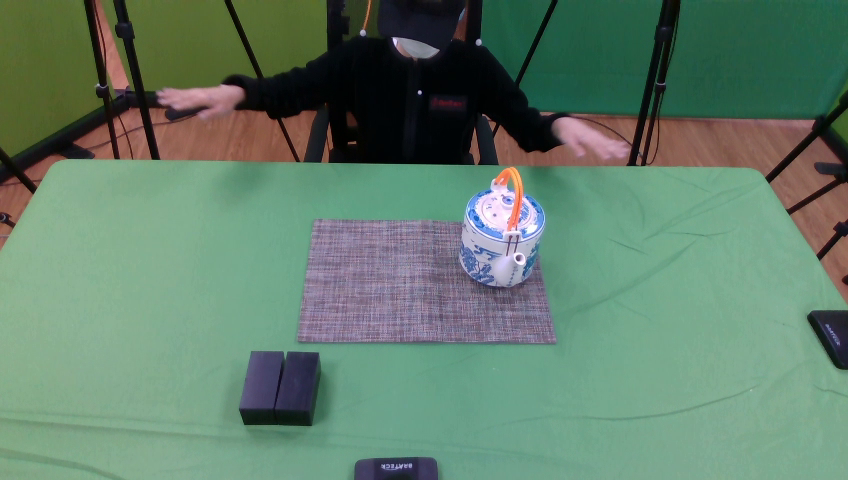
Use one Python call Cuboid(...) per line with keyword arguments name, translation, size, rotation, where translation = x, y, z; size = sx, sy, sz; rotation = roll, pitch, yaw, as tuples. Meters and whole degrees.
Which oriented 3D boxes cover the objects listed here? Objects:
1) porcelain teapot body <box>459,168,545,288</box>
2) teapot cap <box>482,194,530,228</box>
Cuboid(name="porcelain teapot body", translation=(0.146, -0.006, 1.070), size=(0.145, 0.226, 0.204), rotation=(-4, 46, -8))
Cuboid(name="teapot cap", translation=(0.145, -0.055, 1.062), size=(0.085, 0.044, 0.084), rotation=(3, 47, -3))
